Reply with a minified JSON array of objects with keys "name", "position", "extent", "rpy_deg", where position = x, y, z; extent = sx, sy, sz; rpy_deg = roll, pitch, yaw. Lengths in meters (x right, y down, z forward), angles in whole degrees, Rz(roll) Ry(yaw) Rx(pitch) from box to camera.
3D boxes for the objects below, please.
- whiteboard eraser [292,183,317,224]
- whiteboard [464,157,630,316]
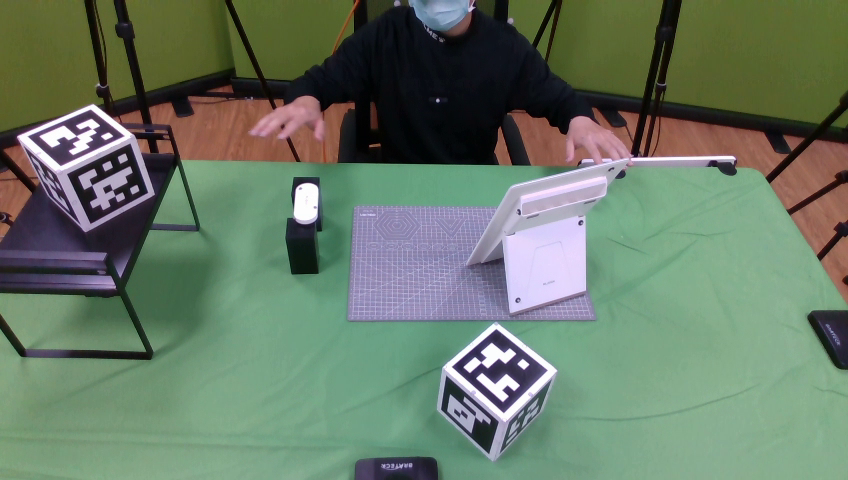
[{"name":"whiteboard eraser","position":[-0.217,-0.068,1.108],"extent":[0.041,0.019,0.100],"rpy_deg":[-2,46,-4]},{"name":"whiteboard","position":[0.224,0.015,1.042],"extent":[0.217,0.306,0.143],"rpy_deg":[-14,68,-17]}]
